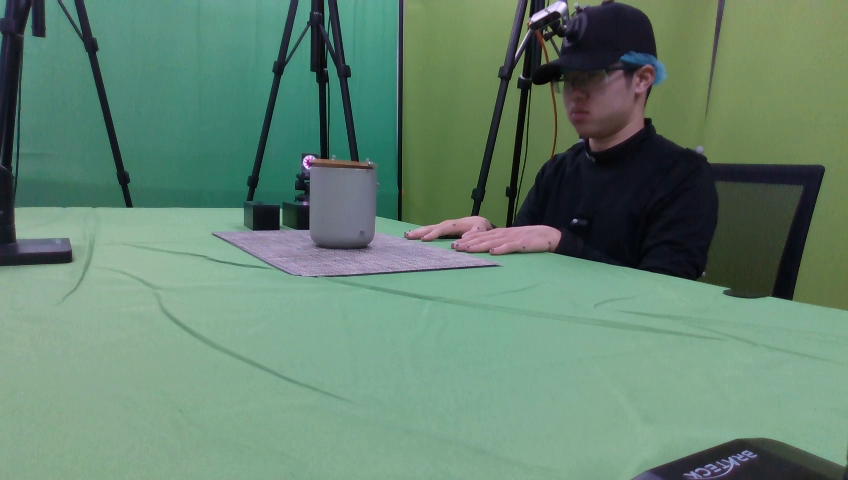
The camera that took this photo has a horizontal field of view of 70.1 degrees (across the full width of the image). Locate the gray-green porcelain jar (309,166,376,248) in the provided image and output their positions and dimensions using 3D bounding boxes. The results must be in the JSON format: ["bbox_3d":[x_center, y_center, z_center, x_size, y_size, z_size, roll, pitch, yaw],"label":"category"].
[{"bbox_3d":[-0.130,-0.054,0.965,0.106,0.126,0.106,2,7,0],"label":"gray-green porcelain jar"}]

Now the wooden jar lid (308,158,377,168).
[{"bbox_3d":[-0.128,-0.117,0.956,0.108,0.020,0.108,5,6,0],"label":"wooden jar lid"}]
